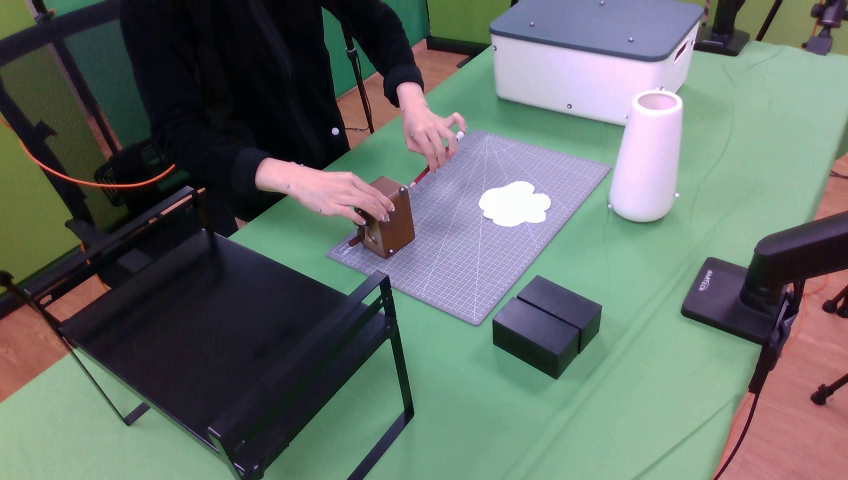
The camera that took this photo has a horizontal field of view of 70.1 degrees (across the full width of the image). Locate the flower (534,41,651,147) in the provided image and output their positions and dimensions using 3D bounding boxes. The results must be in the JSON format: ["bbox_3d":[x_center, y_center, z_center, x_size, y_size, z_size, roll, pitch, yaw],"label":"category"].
[{"bbox_3d":[0.364,-0.319,1.319,0.038,0.044,0.359,-4,48,-50],"label":"flower"}]

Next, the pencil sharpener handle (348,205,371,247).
[{"bbox_3d":[-0.103,-0.019,0.921,0.035,0.068,0.031,35,56,26],"label":"pencil sharpener handle"}]

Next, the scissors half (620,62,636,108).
[{"bbox_3d":[0.434,-0.340,1.298,0.013,0.040,0.174,25,42,-11],"label":"scissors half"}]

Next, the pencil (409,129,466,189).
[{"bbox_3d":[0.024,-0.140,1.039,0.012,0.012,0.194,17,46,26],"label":"pencil"}]

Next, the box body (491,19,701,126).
[{"bbox_3d":[0.352,-0.384,1.268,0.361,0.161,0.255,21,48,29],"label":"box body"}]

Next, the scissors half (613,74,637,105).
[{"bbox_3d":[0.427,-0.330,1.306,0.013,0.040,0.174,31,31,-14],"label":"scissors half"}]

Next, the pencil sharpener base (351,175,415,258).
[{"bbox_3d":[-0.065,-0.035,0.954,0.061,0.107,0.077,28,52,34],"label":"pencil sharpener base"}]

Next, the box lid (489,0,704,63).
[{"bbox_3d":[0.345,-0.441,1.217,0.369,0.015,0.264,21,49,29],"label":"box lid"}]

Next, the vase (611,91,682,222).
[{"bbox_3d":[0.348,-0.125,0.935,0.098,0.201,0.097,-3,40,3],"label":"vase"}]
